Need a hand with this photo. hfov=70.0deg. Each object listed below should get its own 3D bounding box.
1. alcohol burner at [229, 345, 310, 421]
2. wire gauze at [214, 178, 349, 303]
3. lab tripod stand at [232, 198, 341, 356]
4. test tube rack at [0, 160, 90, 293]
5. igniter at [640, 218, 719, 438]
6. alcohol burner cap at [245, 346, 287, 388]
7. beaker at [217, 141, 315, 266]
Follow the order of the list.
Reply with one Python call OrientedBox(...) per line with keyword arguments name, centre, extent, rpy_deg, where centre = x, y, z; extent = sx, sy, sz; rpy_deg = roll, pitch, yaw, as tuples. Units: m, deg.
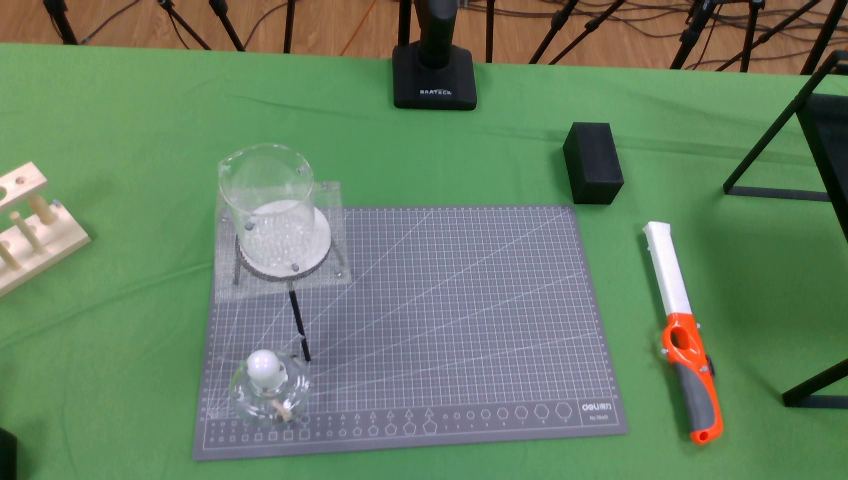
OrientedBox(name="alcohol burner", centre=(-0.150, 0.132, 0.586), extent=(0.078, 0.120, 0.077), rpy_deg=(4, 57, -6))
OrientedBox(name="wire gauze", centre=(-0.138, -0.005, 0.581), extent=(0.122, 0.011, 0.124), rpy_deg=(-6, 64, -9))
OrientedBox(name="lab tripod stand", centre=(-0.141, 0.032, 0.635), extent=(0.149, 0.132, 0.147), rpy_deg=(4, 59, -6))
OrientedBox(name="test tube rack", centre=(-0.492, 0.024, 0.629), extent=(0.066, 0.086, 0.242), rpy_deg=(42, 63, 18))
OrientedBox(name="igniter", centre=(0.298, 0.094, 0.716), extent=(0.057, 0.025, 0.274), rpy_deg=(8, 58, -14))
OrientedBox(name="alcohol burner cap", centre=(-0.146, 0.114, 0.554), extent=(0.034, 0.048, 0.033), rpy_deg=(1, 64, -2))
OrientedBox(name="beaker", centre=(-0.137, -0.028, 0.538), extent=(0.084, 0.101, 0.073), rpy_deg=(21, 59, 6))
